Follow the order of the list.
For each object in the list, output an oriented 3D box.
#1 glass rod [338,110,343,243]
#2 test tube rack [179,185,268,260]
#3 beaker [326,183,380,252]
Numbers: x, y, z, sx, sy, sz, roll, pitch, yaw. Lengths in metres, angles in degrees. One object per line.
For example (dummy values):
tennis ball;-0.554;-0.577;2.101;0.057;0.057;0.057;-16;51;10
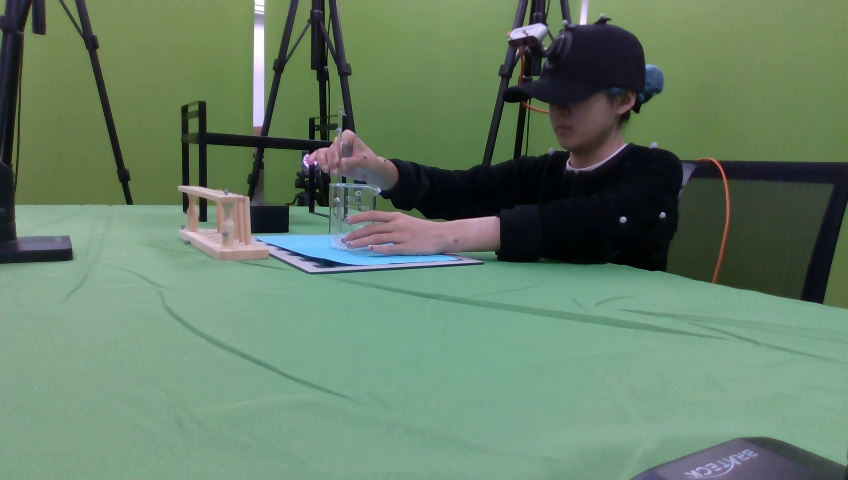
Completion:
glass rod;-0.126;-0.094;0.911;0.008;0.199;0.008;1;8;0
test tube rack;-0.303;-0.031;0.898;0.067;0.085;0.241;-2;9;-33
beaker;-0.108;-0.035;0.921;0.084;0.100;0.074;5;8;14
